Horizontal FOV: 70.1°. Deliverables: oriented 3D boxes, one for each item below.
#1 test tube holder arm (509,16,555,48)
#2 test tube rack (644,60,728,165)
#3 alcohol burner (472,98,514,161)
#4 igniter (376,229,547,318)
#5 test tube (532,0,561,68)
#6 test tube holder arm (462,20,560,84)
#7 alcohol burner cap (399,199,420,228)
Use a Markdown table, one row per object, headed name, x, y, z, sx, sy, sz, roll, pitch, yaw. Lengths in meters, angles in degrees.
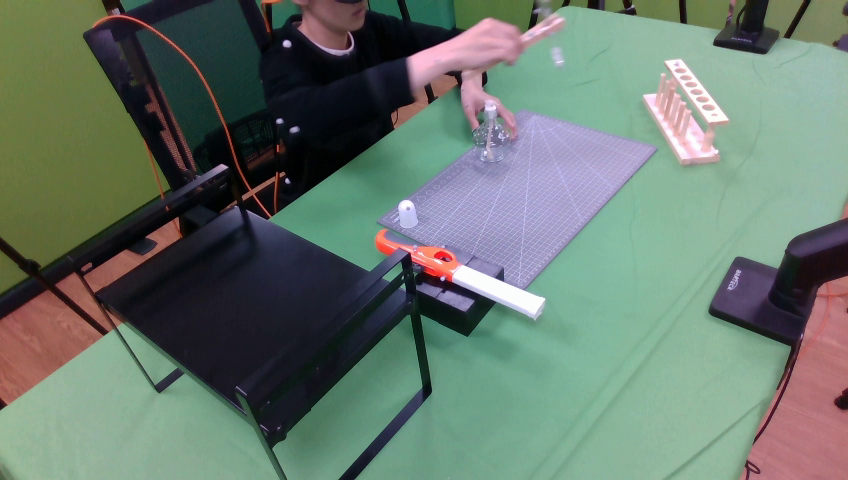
| name | x | y | z | sx | sy | sz | roll | pitch | yaw |
| --- | --- | --- | --- | --- | --- | --- | --- | --- | --- |
| test tube holder arm | 0.174 | -0.329 | 0.972 | 0.088 | 0.015 | 0.010 | -37 | 49 | -8 |
| test tube rack | 0.486 | -0.246 | 1.140 | 0.067 | 0.085 | 0.241 | -5 | 41 | 4 |
| alcohol burner | 0.127 | -0.208 | 1.123 | 0.078 | 0.119 | 0.077 | -4 | 39 | 4 |
| igniter | 0.040 | 0.041 | 0.845 | 0.274 | 0.025 | 0.057 | 22 | 46 | 27 |
| test tube | 0.201 | -0.334 | 0.984 | 0.017 | 0.151 | 0.017 | -11 | 59 | 20 |
| test tube holder arm | 0.139 | -0.301 | 0.965 | 0.178 | 0.015 | 0.013 | -32 | 48 | -4 |
| alcohol burner cap | -0.025 | -0.047 | 1.014 | 0.034 | 0.048 | 0.033 | -4 | 42 | 4 |
